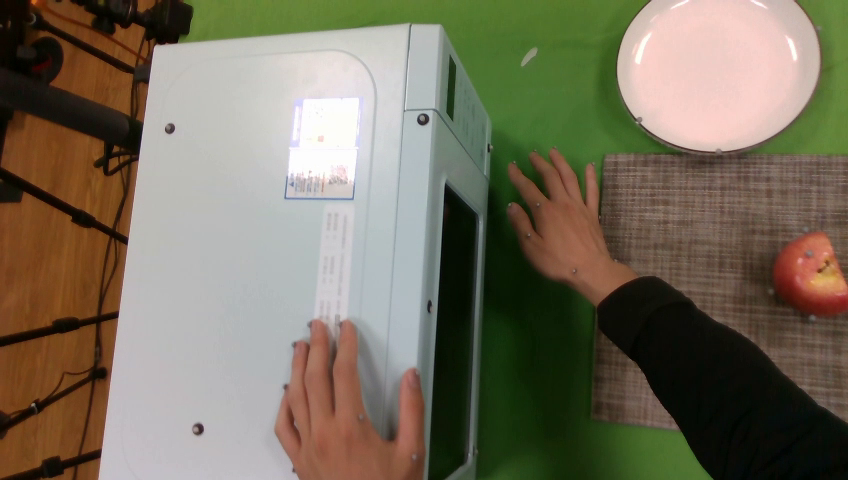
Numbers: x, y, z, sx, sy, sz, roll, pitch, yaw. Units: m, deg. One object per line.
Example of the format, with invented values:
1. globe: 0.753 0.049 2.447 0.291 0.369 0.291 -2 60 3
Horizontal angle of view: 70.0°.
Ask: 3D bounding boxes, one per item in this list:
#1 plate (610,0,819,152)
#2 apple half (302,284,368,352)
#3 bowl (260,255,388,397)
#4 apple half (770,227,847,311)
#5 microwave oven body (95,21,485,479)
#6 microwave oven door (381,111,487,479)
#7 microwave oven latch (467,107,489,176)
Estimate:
1. plate: 0.315 -0.196 0.674 0.207 0.039 0.207 -2 81 16
2. apple half: -0.101 0.089 0.664 0.081 0.033 0.081 1 97 14
3. bowl: -0.097 0.091 0.674 0.151 0.077 0.151 0 91 22
4. apple half: 0.374 0.033 0.600 0.053 0.075 0.080 -19 80 19
5. microwave oven body: -0.120 0.040 0.648 0.325 0.261 0.440 1 83 16
6. microwave oven door: 0.016 0.083 0.596 0.039 0.245 0.354 1 82 17
7. microwave oven latch: 0.062 -0.117 0.719 0.030 0.029 0.079 1 83 16
